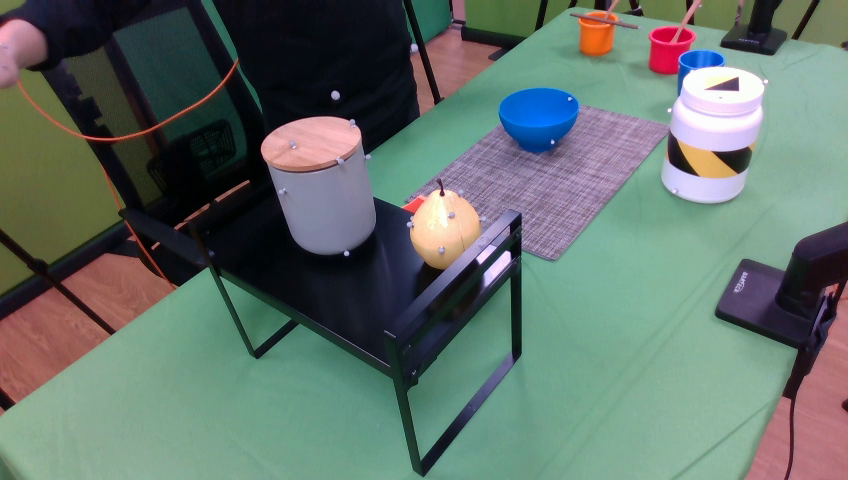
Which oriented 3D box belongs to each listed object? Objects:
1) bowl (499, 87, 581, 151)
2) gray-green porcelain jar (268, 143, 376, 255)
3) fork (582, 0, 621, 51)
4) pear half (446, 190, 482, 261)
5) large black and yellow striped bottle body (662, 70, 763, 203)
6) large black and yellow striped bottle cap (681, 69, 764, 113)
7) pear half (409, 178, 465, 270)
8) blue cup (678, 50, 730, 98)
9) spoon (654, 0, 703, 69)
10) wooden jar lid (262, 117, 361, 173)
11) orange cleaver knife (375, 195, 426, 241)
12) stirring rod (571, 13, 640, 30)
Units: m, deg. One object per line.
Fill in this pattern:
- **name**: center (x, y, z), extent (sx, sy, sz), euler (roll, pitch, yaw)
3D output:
- **bowl**: center (0.220, -0.223, 1.156), extent (0.151, 0.077, 0.150), euler (-5, 40, 4)
- **gray-green porcelain jar**: center (-0.114, -0.055, 0.704), extent (0.106, 0.127, 0.105), euler (-4, 40, 4)
- **fork**: center (0.446, -0.539, 1.438), extent (0.207, 0.019, 0.028), euler (-57, 36, 12)
- **pear half**: center (0.046, -0.020, 0.665), extent (0.031, 0.088, 0.070), euler (-17, 38, -8)
- **large black and yellow striped bottle body**: center (0.464, -0.166, 0.976), extent (0.131, 0.185, 0.130), euler (-5, 41, 5)
- **large black and yellow striped bottle cap**: center (0.453, -0.229, 0.921), extent (0.115, 0.019, 0.114), euler (-4, 39, 4)
- **pear half**: center (0.010, -0.019, 0.654), extent (0.056, 0.110, 0.076), euler (-17, 37, -9)
- **blue cup**: center (0.543, -0.310, 1.194), extent (0.092, 0.101, 0.092), euler (-6, 41, 6)
- **spoon**: center (0.569, -0.462, 1.335), extent (0.041, 0.022, 0.193), euler (34, 99, 37)
- **wooden jar lid**: center (-0.122, -0.101, 0.663), extent (0.108, 0.021, 0.108), euler (-3, 39, 3)
- **orange cleaver knife**: center (-0.037, -0.029, 0.973), extent (0.210, 0.077, 0.012), euler (-8, 33, 50)
- **stirring rod**: center (0.419, -0.508, 1.404), extent (0.174, 0.006, 0.014), euler (28, 55, 35)
